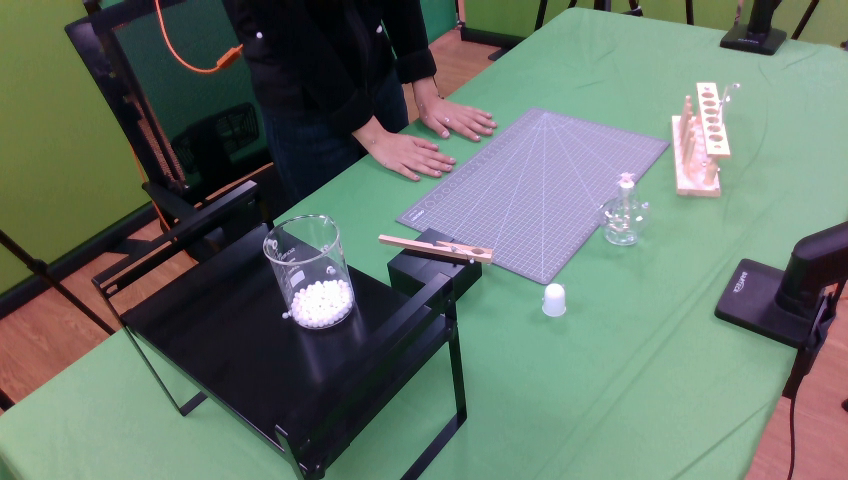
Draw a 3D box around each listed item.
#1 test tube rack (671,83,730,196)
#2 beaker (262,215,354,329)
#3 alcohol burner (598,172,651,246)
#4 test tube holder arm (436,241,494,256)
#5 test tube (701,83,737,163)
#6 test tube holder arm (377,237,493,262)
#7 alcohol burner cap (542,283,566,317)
[{"bbox_3d":[0.482,-0.184,1.067,0.066,0.085,0.242,5,42,15],"label":"test tube rack"},{"bbox_3d":[-0.112,0.034,0.616,0.073,0.101,0.084,13,44,23],"label":"beaker"},{"bbox_3d":[0.306,-0.051,0.918,0.078,0.119,0.077,-5,40,5],"label":"alcohol burner"},{"bbox_3d":[0.058,0.015,0.878,0.087,0.015,0.010,8,45,19],"label":"test tube holder arm"},{"bbox_3d":[0.485,-0.190,0.998,0.017,0.151,0.017,-1,44,2],"label":"test tube"},{"bbox_3d":[0.014,0.013,0.888,0.177,0.015,0.013,6,44,17],"label":"test tube holder arm"},{"bbox_3d":[0.181,0.080,0.840,0.034,0.048,0.033,-4,40,4],"label":"alcohol burner cap"}]
